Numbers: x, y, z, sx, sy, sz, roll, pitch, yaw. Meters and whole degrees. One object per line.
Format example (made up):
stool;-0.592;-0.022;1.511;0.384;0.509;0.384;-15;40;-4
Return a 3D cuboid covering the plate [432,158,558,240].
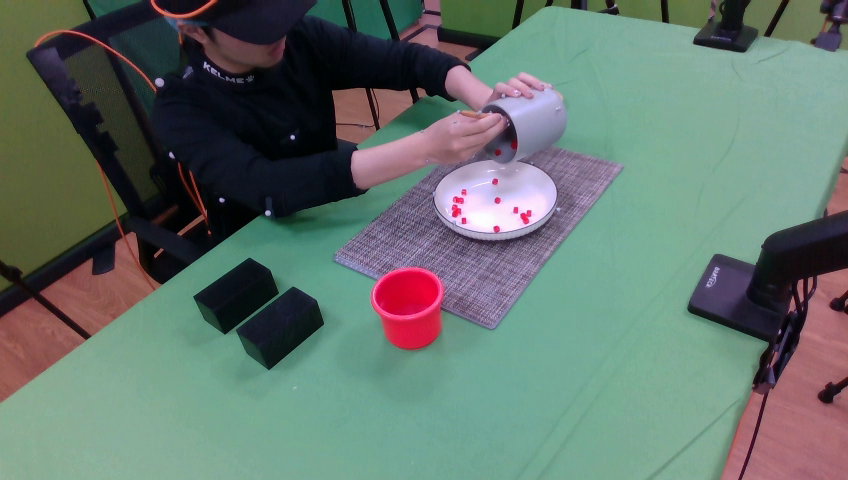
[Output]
plate;0.118;-0.066;1.012;0.207;0.039;0.206;-4;41;4

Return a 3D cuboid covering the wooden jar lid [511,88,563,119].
wooden jar lid;0.237;-0.286;1.271;0.108;0.021;0.108;-5;42;5

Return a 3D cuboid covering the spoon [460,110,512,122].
spoon;0.131;-0.197;0.971;0.195;0.021;0.041;-9;34;-39

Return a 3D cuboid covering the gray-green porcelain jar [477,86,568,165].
gray-green porcelain jar;0.170;-0.198;1.023;0.127;0.106;0.105;-27;44;-28
